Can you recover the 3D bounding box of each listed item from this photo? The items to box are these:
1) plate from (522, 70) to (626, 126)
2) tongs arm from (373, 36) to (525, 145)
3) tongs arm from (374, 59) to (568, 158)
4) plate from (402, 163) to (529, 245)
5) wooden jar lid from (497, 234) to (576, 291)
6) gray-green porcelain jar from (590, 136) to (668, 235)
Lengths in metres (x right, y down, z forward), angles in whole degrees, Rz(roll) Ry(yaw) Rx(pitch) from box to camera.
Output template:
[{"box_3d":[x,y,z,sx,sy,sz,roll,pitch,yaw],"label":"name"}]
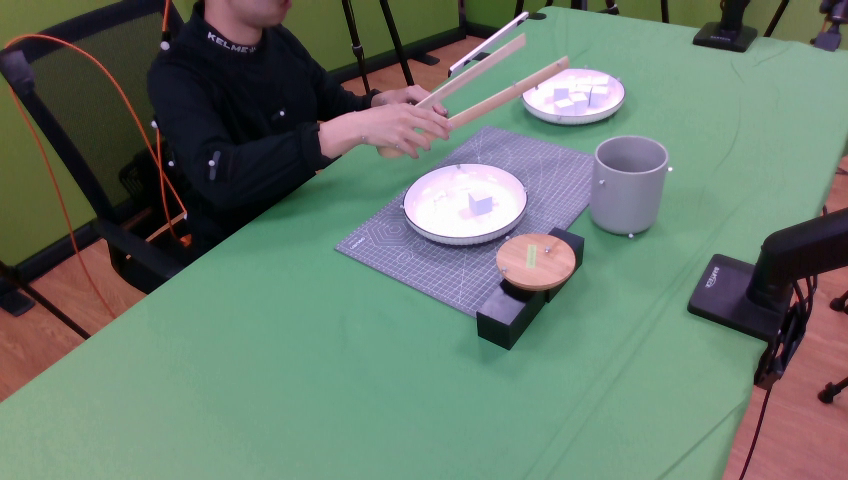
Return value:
[{"box_3d":[0.308,-0.290,1.251,0.207,0.039,0.206,-4,40,4],"label":"plate"},{"box_3d":[0.053,-0.282,1.137,0.388,0.028,0.028,-37,56,-18],"label":"tongs arm"},{"box_3d":[0.090,-0.243,1.093,0.386,0.027,0.050,-30,51,-11],"label":"tongs arm"},{"box_3d":[0.069,-0.056,1.008,0.209,0.038,0.208,-4,40,4],"label":"plate"},{"box_3d":[0.155,0.032,0.834,0.108,0.021,0.108,-5,40,5],"label":"wooden jar lid"},{"box_3d":[0.314,-0.080,0.937,0.106,0.127,0.105,-4,41,4],"label":"gray-green porcelain jar"}]
